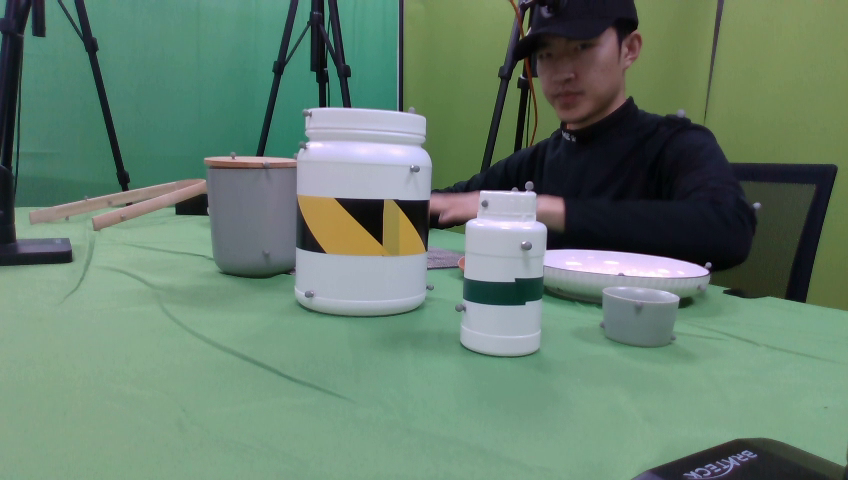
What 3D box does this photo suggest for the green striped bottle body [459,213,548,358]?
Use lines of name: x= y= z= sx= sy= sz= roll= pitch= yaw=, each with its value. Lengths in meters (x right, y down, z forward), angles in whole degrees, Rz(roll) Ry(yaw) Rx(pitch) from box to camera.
green striped bottle body: x=0.061 y=0.024 z=0.460 sx=0.063 sy=0.119 sz=0.063 roll=2 pitch=7 yaw=0

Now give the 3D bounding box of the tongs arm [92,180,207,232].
tongs arm: x=-0.534 y=-0.076 z=1.221 sx=0.028 sy=0.028 sz=0.388 roll=-2 pitch=15 yaw=12

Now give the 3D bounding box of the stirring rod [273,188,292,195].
stirring rod: x=-0.354 y=-0.122 z=1.519 sx=0.006 sy=0.014 sz=0.176 roll=2 pitch=7 yaw=1

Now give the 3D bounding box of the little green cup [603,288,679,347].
little green cup: x=0.180 y=0.064 z=0.505 sx=0.061 sy=0.038 sz=0.061 roll=2 pitch=7 yaw=0

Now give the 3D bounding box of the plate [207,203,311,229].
plate: x=-0.342 y=-0.050 z=1.259 sx=0.208 sy=0.039 sz=0.207 roll=2 pitch=7 yaw=0

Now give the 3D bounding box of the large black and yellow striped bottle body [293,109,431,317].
large black and yellow striped bottle body: x=-0.060 y=-0.028 z=0.584 sx=0.131 sy=0.184 sz=0.130 roll=2 pitch=7 yaw=0

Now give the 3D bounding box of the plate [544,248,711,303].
plate: x=0.219 y=0.041 z=0.706 sx=0.209 sy=0.038 sz=0.209 roll=2 pitch=7 yaw=0

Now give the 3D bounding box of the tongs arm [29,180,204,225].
tongs arm: x=-0.609 y=-0.083 z=1.245 sx=0.050 sy=0.026 sz=0.386 roll=5 pitch=16 yaw=23

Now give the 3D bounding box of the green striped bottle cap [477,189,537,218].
green striped bottle cap: x=0.062 y=-0.027 z=0.453 sx=0.044 sy=0.020 sz=0.044 roll=2 pitch=5 yaw=0

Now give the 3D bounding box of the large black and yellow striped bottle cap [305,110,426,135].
large black and yellow striped bottle cap: x=-0.055 y=-0.110 z=0.574 sx=0.115 sy=0.019 sz=0.115 roll=1 pitch=7 yaw=0

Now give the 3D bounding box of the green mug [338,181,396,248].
green mug: x=-0.097 y=-0.044 z=0.995 sx=0.093 sy=0.105 sz=0.125 roll=-1 pitch=8 yaw=-21

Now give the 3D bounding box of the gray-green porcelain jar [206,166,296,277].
gray-green porcelain jar: x=-0.201 y=-0.024 z=0.724 sx=0.106 sy=0.126 sz=0.106 roll=-1 pitch=9 yaw=1

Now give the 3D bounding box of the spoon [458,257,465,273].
spoon: x=0.059 y=0.044 z=0.696 sx=0.041 sy=0.021 sz=0.194 roll=20 pitch=7 yaw=0

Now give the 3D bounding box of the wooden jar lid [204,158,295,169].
wooden jar lid: x=-0.202 y=-0.086 z=0.714 sx=0.108 sy=0.020 sz=0.108 roll=3 pitch=10 yaw=0
